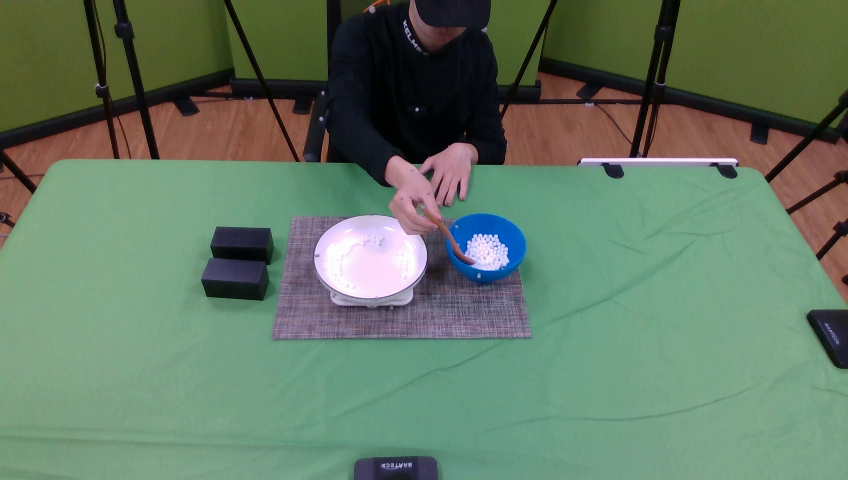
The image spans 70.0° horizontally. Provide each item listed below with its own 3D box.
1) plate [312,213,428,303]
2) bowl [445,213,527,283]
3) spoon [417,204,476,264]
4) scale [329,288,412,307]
[{"bbox_3d":[-0.097,0.036,1.100,0.209,0.038,0.208,2,46,-2],"label":"plate"},{"bbox_3d":[0.111,0.028,1.137,0.151,0.077,0.150,2,46,-2],"label":"bowl"},{"bbox_3d":[0.040,-0.009,1.066,0.021,0.195,0.041,-45,42,-6],"label":"spoon"},{"bbox_3d":[-0.098,0.042,1.139,0.149,0.032,0.199,1,46,-4],"label":"scale"}]
